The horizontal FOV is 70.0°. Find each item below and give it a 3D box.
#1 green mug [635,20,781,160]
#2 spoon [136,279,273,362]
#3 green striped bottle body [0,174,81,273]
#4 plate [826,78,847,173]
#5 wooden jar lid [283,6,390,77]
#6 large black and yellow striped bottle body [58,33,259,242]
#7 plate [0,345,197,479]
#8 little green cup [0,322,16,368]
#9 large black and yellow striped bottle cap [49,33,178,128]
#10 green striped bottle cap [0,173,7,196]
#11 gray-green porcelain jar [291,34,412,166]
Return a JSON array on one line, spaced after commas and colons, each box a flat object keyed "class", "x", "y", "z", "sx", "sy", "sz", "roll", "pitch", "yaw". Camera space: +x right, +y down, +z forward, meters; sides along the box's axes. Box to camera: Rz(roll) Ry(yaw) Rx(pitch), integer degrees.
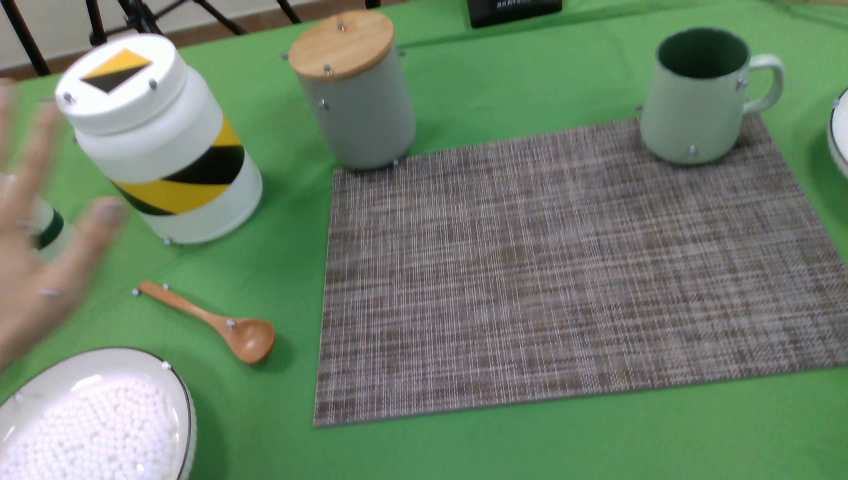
[{"class": "green mug", "x": 0.266, "y": -0.141, "z": 0.568, "sx": 0.125, "sy": 0.106, "sz": 0.091, "roll": -9, "pitch": 52, "yaw": 6}, {"class": "spoon", "x": -0.215, "y": 0.068, "z": 0.581, "sx": 0.192, "sy": 0.022, "sz": 0.041, "roll": 20, "pitch": 79, "yaw": 25}, {"class": "green striped bottle body", "x": -0.426, "y": -0.022, "z": 0.635, "sx": 0.063, "sy": 0.120, "sz": 0.062, "roll": -7, "pitch": 52, "yaw": 9}, {"class": "plate", "x": 0.467, "y": -0.087, "z": 0.529, "sx": 0.207, "sy": 0.039, "sz": 0.205, "roll": -6, "pitch": 53, "yaw": 9}, {"class": "wooden jar lid", "x": -0.084, "y": -0.192, "z": 0.596, "sx": 0.108, "sy": 0.021, "sz": 0.107, "roll": -8, "pitch": 51, "yaw": 11}, {"class": "large black and yellow striped bottle body", "x": -0.263, "y": -0.098, "z": 0.613, "sx": 0.130, "sy": 0.186, "sz": 0.129, "roll": -6, "pitch": 53, "yaw": 9}, {"class": "plate", "x": -0.282, "y": 0.187, "z": 0.499, "sx": 0.209, "sy": 0.038, "sz": 0.207, "roll": -6, "pitch": 53, "yaw": 8}, {"class": "little green cup", "x": -0.440, "y": 0.104, "z": 0.597, "sx": 0.061, "sy": 0.039, "sz": 0.061, "roll": -6, "pitch": 52, "yaw": 9}, {"class": "large black and yellow striped bottle cap", "x": -0.279, "y": -0.146, "z": 0.547, "sx": 0.115, "sy": 0.019, "sz": 0.114, "roll": -6, "pitch": 52, "yaw": 8}, {"class": "green striped bottle cap", "x": -0.436, "y": -0.053, "z": 0.595, "sx": 0.044, "sy": 0.020, "sz": 0.044, "roll": -5, "pitch": 54, "yaw": 7}, {"class": "gray-green porcelain jar", "x": -0.072, "y": -0.151, "z": 0.643, "sx": 0.106, "sy": 0.128, "sz": 0.105, "roll": -7, "pitch": 49, "yaw": 8}]
